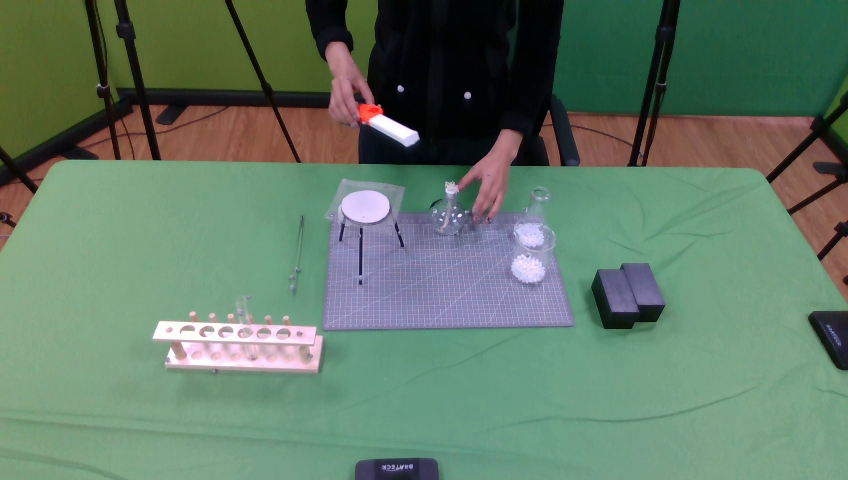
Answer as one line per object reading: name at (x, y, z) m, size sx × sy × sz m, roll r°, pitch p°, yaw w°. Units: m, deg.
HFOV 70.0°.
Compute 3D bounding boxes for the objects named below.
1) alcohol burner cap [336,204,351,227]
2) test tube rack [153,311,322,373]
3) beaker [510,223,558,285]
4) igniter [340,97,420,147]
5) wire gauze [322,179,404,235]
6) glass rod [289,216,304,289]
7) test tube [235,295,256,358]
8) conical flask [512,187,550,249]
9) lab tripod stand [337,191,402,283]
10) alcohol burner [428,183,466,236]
alcohol burner cap at (-0.162, -0.053, 1.220) m, size 0.034 × 0.048 × 0.033 m, roll 2°, pitch 46°, yaw -2°
test tube rack at (-0.293, 0.160, 0.978) m, size 0.242 × 0.085 × 0.066 m, roll 3°, pitch 46°, yaw -2°
beaker at (0.199, 0.028, 1.132) m, size 0.083 × 0.101 × 0.074 m, roll 26°, pitch 50°, yaw 21°
igniter at (-0.092, -0.228, 1.145) m, size 0.057 × 0.025 × 0.275 m, roll -31°, pitch 38°, yaw -19°
wire gauze at (-0.106, -0.064, 1.078) m, size 0.125 × 0.011 × 0.121 m, roll 11°, pitch 45°, yaw 5°
glass rod at (-0.246, 0.020, 1.171) m, size 0.008 × 0.008 × 0.198 m, roll 1°, pitch 43°, yaw -3°
test tube at (-0.274, 0.136, 0.933) m, size 0.017 × 0.151 × 0.017 m, roll 4°, pitch 45°, yaw -4°
conical flask at (0.217, -0.048, 1.190) m, size 0.075 × 0.122 × 0.075 m, roll 2°, pitch 46°, yaw -2°
lab tripod stand at (-0.106, -0.016, 1.125) m, size 0.148 × 0.132 × 0.147 m, roll 3°, pitch 44°, yaw -2°
alcohol burner at (0.047, -0.066, 1.200) m, size 0.078 × 0.119 × 0.077 m, roll 4°, pitch 45°, yaw -3°
